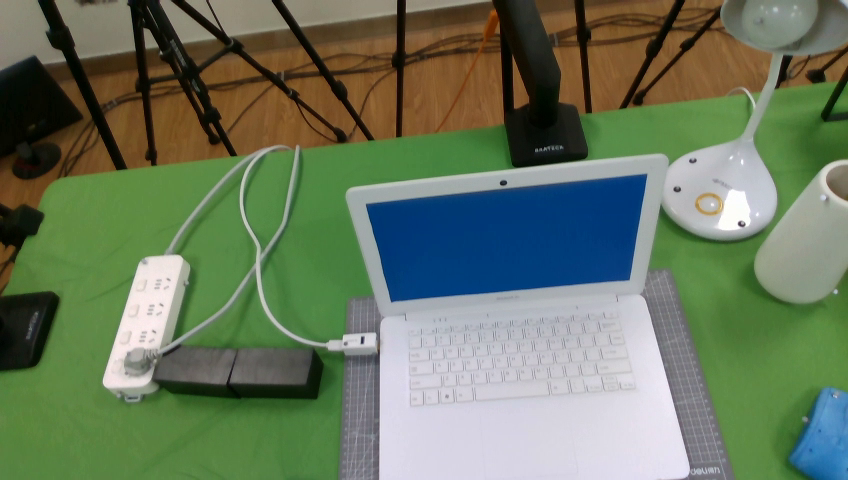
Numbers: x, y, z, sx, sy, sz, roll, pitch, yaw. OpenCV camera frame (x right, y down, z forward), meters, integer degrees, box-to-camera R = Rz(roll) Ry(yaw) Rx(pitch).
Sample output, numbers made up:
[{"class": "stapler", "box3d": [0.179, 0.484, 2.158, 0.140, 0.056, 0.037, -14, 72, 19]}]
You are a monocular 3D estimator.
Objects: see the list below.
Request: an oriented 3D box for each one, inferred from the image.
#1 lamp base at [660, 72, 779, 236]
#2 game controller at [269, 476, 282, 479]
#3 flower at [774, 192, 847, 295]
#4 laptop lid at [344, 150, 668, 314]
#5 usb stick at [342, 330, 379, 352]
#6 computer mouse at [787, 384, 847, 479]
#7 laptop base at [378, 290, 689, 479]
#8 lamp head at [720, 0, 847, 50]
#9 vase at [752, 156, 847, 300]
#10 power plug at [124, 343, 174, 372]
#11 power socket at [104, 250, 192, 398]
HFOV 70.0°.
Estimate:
[{"class": "lamp base", "box3d": [0.418, -0.125, 0.817, 0.159, 0.182, 0.178, 24, 60, 22]}, {"class": "game controller", "box3d": [-0.185, 0.339, 0.674, 0.155, 0.052, 0.096, -38, 57, -17]}, {"class": "flower", "box3d": [0.473, -0.065, 0.658, 0.038, 0.364, 0.043, -8, 44, -17]}, {"class": "laptop lid", "box3d": [0.099, 0.003, 0.732, 0.356, 0.244, 0.013, -7, 45, 5]}, {"class": "usb stick", "box3d": [-0.077, 0.133, 0.797, 0.059, 0.027, 0.021, -1, 54, 2]}, {"class": "computer mouse", "box3d": [0.457, 0.213, 0.672, 0.062, 0.041, 0.117, 31, 61, 29]}, {"class": "laptop base", "box3d": [0.119, 0.183, 0.752, 0.354, 0.023, 0.233, -6, 59, 4]}, {"class": "lamp head", "box3d": [0.344, -0.249, 0.547, 0.112, 0.113, 0.122, 21, 79, 21]}, {"class": "vase", "box3d": [0.467, -0.010, 0.722, 0.098, 0.202, 0.097, -5, 55, 7]}, {"class": "power plug", "box3d": [-0.362, 0.160, 0.802, 0.072, 0.053, 0.035, 6, 57, 10]}, {"class": "power socket", "box3d": [-0.388, 0.110, 0.862, 0.072, 0.033, 0.224, -3, 56, 5]}]
